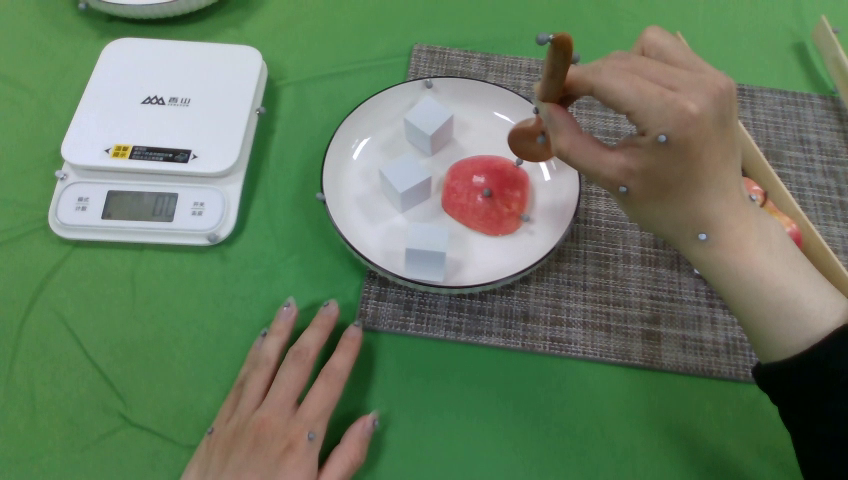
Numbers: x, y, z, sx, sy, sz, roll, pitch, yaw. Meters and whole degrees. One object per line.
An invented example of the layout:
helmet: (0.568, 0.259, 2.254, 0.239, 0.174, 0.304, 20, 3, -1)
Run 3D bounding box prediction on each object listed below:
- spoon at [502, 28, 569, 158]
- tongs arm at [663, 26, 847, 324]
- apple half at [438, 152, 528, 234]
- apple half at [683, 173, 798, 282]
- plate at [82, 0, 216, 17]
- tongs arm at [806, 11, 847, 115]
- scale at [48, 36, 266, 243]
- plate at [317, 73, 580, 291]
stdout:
spoon: (0.072, -0.082, 0.379, 0.041, 0.194, 0.021, 15, 87, 6)
tongs arm: (0.302, -0.042, 0.512, 0.028, 0.028, 0.384, -13, 63, -14)
apple half: (0.049, -0.047, 0.493, 0.081, 0.033, 0.080, 3, 62, -5)
apple half: (0.230, -0.002, 0.461, 0.053, 0.075, 0.080, -27, 69, -12)
plate: (-0.272, -0.301, 0.630, 0.208, 0.039, 0.206, 1, 61, -2)
tongs arm: (0.384, -0.053, 0.520, 0.051, 0.027, 0.381, -2, 62, -5)
scale: (-0.223, -0.092, 0.519, 0.149, 0.032, 0.199, 3, 61, -1)
plate: (0.020, -0.048, 0.498, 0.209, 0.038, 0.207, 1, 61, -2)
